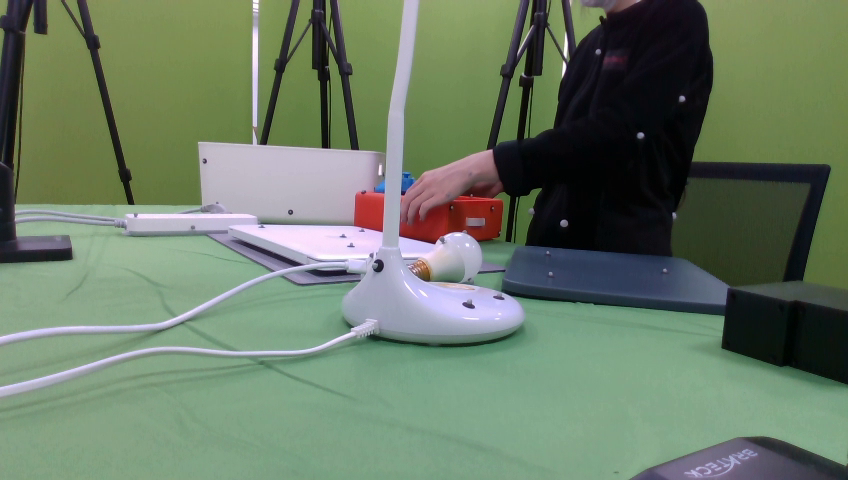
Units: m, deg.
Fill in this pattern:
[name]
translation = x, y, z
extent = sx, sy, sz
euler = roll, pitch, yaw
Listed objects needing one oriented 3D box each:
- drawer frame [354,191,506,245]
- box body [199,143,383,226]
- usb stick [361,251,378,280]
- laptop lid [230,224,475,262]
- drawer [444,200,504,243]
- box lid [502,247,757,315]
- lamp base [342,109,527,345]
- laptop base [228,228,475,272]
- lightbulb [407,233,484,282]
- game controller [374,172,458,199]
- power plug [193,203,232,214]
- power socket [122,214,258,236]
[drawer frame]
translation = 0.013, -0.047, 1.142
extent = 0.212, 0.082, 0.203
euler = 8, 8, 35
[box body]
translation = -0.276, -0.124, 1.334
extent = 0.364, 0.160, 0.254
euler = 3, 7, 1
[usb stick]
translation = -0.051, 0.033, 0.656
extent = 0.027, 0.021, 0.059
euler = 4, -27, -21
[laptop lid]
translation = -0.119, 0.000, 0.889
extent = 0.243, 0.013, 0.355
euler = 1, 7, -33
[drawer]
translation = 0.015, -0.046, 1.143
extent = 0.211, 0.073, 0.195
euler = 7, 9, 35
[box lid]
translation = 0.244, 0.044, 0.793
extent = 0.263, 0.015, 0.372
euler = 4, 7, 10
[lamp base]
translation = 0.006, -0.015, 0.505
extent = 0.160, 0.180, 0.180
euler = 6, 11, 29
[laptop base]
translation = -0.122, 0.011, 0.889
extent = 0.237, 0.023, 0.352
euler = 1, 6, -35
[lightbulb]
translation = 0.020, 0.028, 0.694
extent = 0.108, 0.059, 0.059
euler = -20, 18, -31
[game controller]
translation = -0.009, -0.100, 1.150
extent = 0.155, 0.051, 0.097
euler = 6, 3, 12
[power plug]
translation = -0.394, -0.042, 1.139
extent = 0.072, 0.052, 0.035
euler = -13, 2, 31
[power socket]
translation = -0.398, -0.028, 1.049
extent = 0.228, 0.032, 0.072
euler = -3, 8, -34
